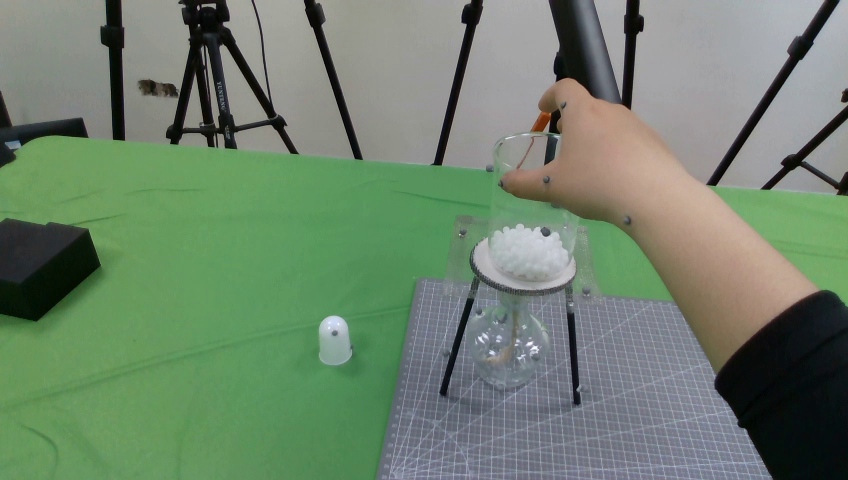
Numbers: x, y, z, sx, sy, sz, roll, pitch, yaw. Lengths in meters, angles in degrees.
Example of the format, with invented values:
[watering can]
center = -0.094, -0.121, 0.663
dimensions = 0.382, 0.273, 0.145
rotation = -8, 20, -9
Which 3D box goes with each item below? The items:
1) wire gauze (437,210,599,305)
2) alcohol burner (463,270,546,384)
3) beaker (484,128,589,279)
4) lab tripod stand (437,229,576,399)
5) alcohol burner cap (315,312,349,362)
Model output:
[wire gauze]
center = 0.078, 0.013, 0.504
dimensions = 0.121, 0.011, 0.124
rotation = 4, 36, 6
[alcohol burner]
center = 0.075, 0.074, 0.550
dimensions = 0.078, 0.120, 0.077
rotation = 3, 37, -2
[beaker]
center = 0.084, -0.025, 0.475
dimensions = 0.074, 0.101, 0.083
rotation = 5, 35, 7
[lab tripod stand]
center = 0.077, 0.065, 0.545
dimensions = 0.148, 0.132, 0.147
rotation = 1, 34, 0
[alcohol burner cap]
center = -0.089, 0.090, 0.582
dimensions = 0.034, 0.048, 0.033
rotation = 2, 36, -1
